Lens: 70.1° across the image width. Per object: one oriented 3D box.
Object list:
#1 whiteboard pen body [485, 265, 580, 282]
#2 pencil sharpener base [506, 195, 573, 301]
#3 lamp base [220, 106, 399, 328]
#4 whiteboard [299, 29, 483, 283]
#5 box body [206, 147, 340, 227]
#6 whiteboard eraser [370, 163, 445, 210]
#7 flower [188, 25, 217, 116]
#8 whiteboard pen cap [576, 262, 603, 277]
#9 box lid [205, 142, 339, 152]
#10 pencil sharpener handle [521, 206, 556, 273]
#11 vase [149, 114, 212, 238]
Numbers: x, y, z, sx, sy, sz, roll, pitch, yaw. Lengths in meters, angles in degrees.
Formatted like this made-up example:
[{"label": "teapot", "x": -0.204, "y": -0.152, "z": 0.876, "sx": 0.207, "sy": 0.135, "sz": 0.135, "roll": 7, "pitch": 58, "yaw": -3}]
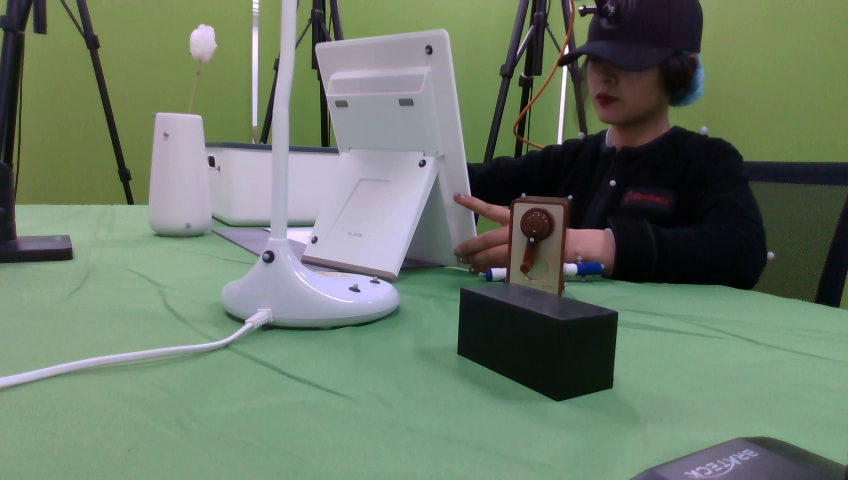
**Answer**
[{"label": "whiteboard pen body", "x": 0.144, "y": 0.040, "z": 0.738, "sx": 0.141, "sy": 0.017, "sz": 0.017, "roll": -2, "pitch": 8, "yaw": -10}, {"label": "pencil sharpener base", "x": 0.127, "y": 0.007, "z": 0.663, "sx": 0.061, "sy": 0.107, "sz": 0.077, "roll": 5, "pitch": 8, "yaw": 15}, {"label": "lamp base", "x": -0.102, "y": -0.023, "z": 0.531, "sx": 0.160, "sy": 0.180, "sz": 0.179, "roll": 4, "pitch": 10, "yaw": 10}, {"label": "whiteboard", "x": -0.074, "y": -0.082, "z": 0.742, "sx": 0.216, "sy": 0.305, "sz": 0.144, "roll": 9, "pitch": 29, "yaw": 38}, {"label": "box body", "x": -0.276, "y": -0.122, "z": 1.320, "sx": 0.366, "sy": 0.160, "sz": 0.253, "roll": -2, "pitch": 9, "yaw": -30}, {"label": "whiteboard eraser", "x": -0.027, "y": -0.073, "z": 0.827, "sx": 0.112, "sy": 0.055, "sz": 0.042, "roll": 10, "pitch": 33, "yaw": 37}, {"label": "flower", "x": -0.394, "y": -0.189, "z": 1.011, "sx": 0.044, "sy": 0.361, "sz": 0.038, "roll": -1, "pitch": -13, "yaw": 27}, {"label": "whiteboard pen cap", "x": 0.203, "y": 0.036, "z": 0.748, "sx": 0.033, "sy": 0.018, "sz": 0.018, "roll": -2, "pitch": 8, "yaw": -7}, {"label": "box lid", "x": -0.270, "y": -0.196, "z": 1.310, "sx": 0.373, "sy": 0.015, "sz": 0.262, "roll": -2, "pitch": 9, "yaw": -30}, {"label": "pencil sharpener handle", "x": 0.111, "y": 0.000, "z": 0.613, "sx": 0.036, "sy": 0.067, "sz": 0.031, "roll": 13, "pitch": 10, "yaw": 14}, {"label": "vase", "x": -0.405, "y": -0.106, "z": 1.005, "sx": 0.098, "sy": 0.200, "sz": 0.098, "roll": 2, "pitch": 6, "yaw": 0}]
